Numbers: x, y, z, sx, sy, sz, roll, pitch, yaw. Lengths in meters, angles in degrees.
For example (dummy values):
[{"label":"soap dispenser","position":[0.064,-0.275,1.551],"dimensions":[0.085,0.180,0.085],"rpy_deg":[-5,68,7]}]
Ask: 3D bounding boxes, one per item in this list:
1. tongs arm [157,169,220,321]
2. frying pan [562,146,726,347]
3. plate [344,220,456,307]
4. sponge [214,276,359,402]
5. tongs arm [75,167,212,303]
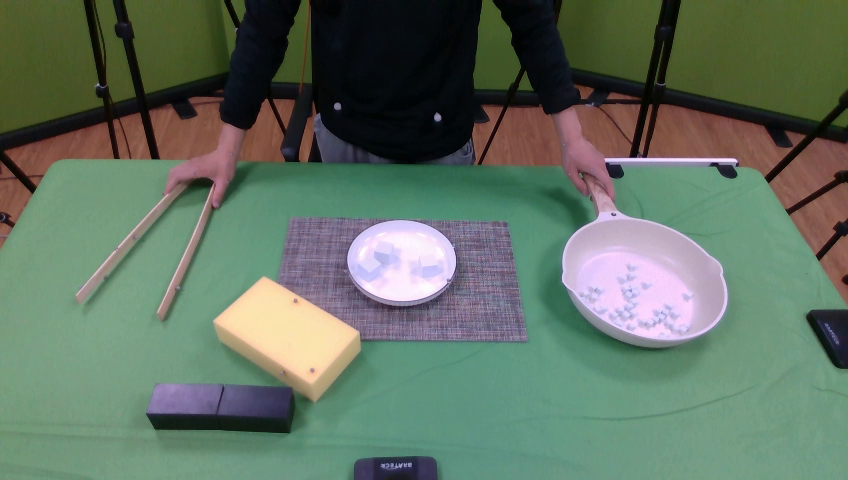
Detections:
[{"label":"tongs arm","position":[-0.447,-0.006,1.165],"dimensions":[0.028,0.028,0.385],"rpy_deg":[2,46,0]},{"label":"frying pan","position":[0.378,-0.005,1.175],"dimensions":[0.307,0.103,0.484],"rpy_deg":[-4,55,-10]},{"label":"plate","position":[-0.044,0.047,1.133],"dimensions":[0.208,0.039,0.206],"rpy_deg":[3,46,-2]},{"label":"sponge","position":[-0.224,0.158,0.998],"dimensions":[0.206,0.061,0.118],"rpy_deg":[27,52,18]},{"label":"tongs arm","position":[-0.526,-0.021,1.168],"dimensions":[0.051,0.026,0.383],"rpy_deg":[13,45,7]}]
